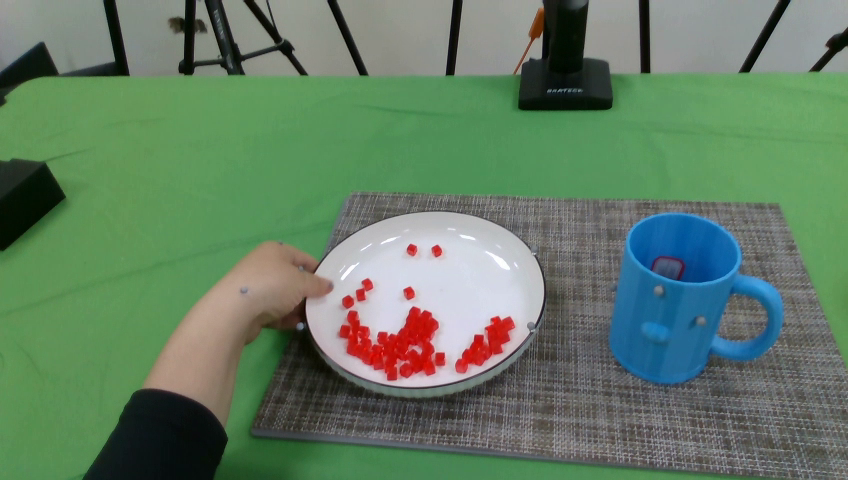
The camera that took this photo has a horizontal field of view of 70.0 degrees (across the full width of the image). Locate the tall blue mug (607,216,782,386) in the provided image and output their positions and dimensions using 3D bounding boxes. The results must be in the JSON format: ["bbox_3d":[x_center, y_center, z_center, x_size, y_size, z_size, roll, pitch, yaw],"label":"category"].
[{"bbox_3d":[0.199,0.047,0.458,0.107,0.109,0.077,-2,40,5],"label":"tall blue mug"}]

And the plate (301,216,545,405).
[{"bbox_3d":[0.000,0.058,0.526,0.207,0.039,0.205,-3,41,3],"label":"plate"}]
